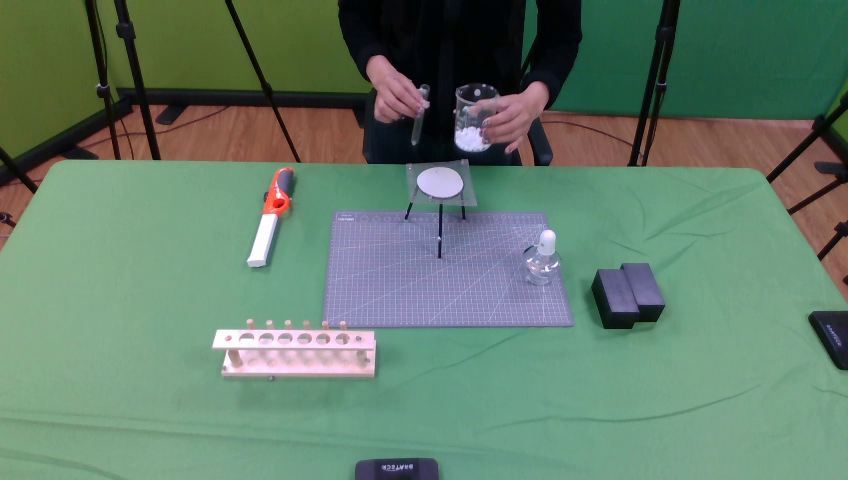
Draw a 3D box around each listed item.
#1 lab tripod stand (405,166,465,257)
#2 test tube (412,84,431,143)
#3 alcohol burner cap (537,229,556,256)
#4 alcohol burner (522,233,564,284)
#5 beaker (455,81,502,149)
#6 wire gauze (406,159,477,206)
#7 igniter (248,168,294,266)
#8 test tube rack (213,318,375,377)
[{"bbox_3d":[0.030,-0.063,1.180,0.148,0.132,0.147,3,47,-3],"label":"lab tripod stand"},{"bbox_3d":[-0.005,-0.232,1.128,0.017,0.151,0.017,5,58,-7],"label":"test tube"},{"bbox_3d":[0.223,0.001,1.095,0.034,0.048,0.033,-1,44,1],"label":"alcohol burner cap"},{"bbox_3d":[0.223,0.027,1.120,0.078,0.119,0.077,2,48,-2],"label":"alcohol burner"},{"bbox_3d":[0.089,-0.217,1.059,0.083,0.101,0.074,30,48,30],"label":"beaker"},{"bbox_3d":[0.031,-0.108,1.129,0.125,0.011,0.120,-1,48,-5],"label":"wire gauze"},{"bbox_3d":[-0.308,-0.055,1.225,0.057,0.025,0.275,-3,46,7],"label":"igniter"},{"bbox_3d":[-0.202,0.169,0.977,0.242,0.085,0.066,1,46,-3],"label":"test tube rack"}]
